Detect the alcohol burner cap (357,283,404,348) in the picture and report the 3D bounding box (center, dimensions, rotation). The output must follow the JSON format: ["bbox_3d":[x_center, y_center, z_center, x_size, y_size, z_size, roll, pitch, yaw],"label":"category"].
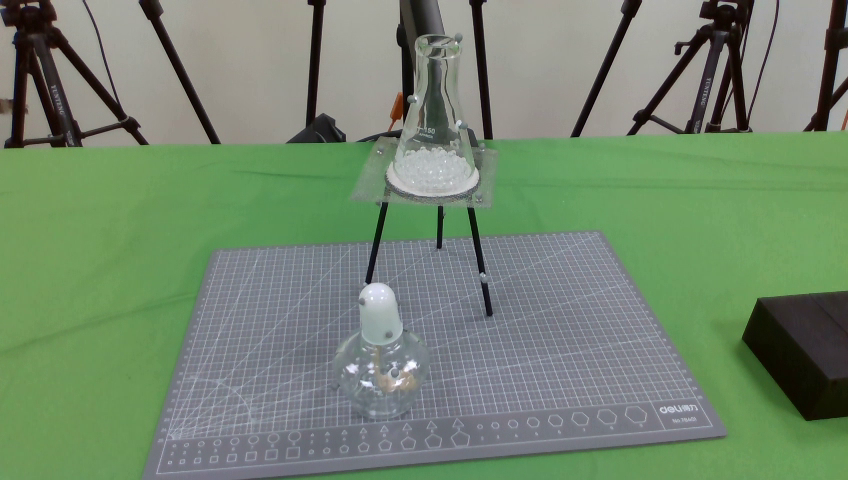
[{"bbox_3d":[-0.034,0.054,0.455,0.034,0.048,0.033,-4,38,3],"label":"alcohol burner cap"}]

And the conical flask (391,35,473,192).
[{"bbox_3d":[0.009,-0.108,0.517,0.075,0.123,0.074,2,35,-1],"label":"conical flask"}]

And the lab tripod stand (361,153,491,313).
[{"bbox_3d":[0.009,-0.007,0.592,0.148,0.132,0.147,3,34,-1],"label":"lab tripod stand"}]

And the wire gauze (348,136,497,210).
[{"bbox_3d":[0.004,-0.061,0.554,0.121,0.011,0.124,6,37,6],"label":"wire gauze"}]

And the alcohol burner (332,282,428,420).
[{"bbox_3d":[-0.035,0.083,0.477,0.078,0.120,0.077,0,33,0],"label":"alcohol burner"}]
